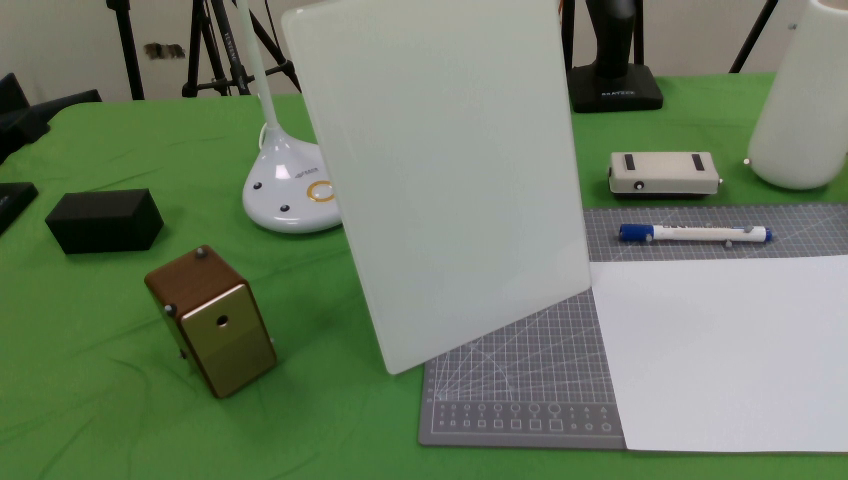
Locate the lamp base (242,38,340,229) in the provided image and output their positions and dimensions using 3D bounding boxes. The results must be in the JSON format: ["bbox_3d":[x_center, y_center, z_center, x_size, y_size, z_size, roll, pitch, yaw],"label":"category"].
[{"bbox_3d":[-0.155,-0.129,0.692,0.160,0.182,0.177,-35,46,-30],"label":"lamp base"}]

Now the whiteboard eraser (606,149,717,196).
[{"bbox_3d":[0.266,-0.075,0.685,0.112,0.042,0.055,0,39,8],"label":"whiteboard eraser"}]

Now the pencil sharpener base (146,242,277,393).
[{"bbox_3d":[-0.182,0.067,0.523,0.061,0.108,0.076,-33,47,-27],"label":"pencil sharpener base"}]

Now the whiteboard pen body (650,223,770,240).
[{"bbox_3d":[0.279,-0.009,0.622,0.140,0.017,0.017,1,41,8],"label":"whiteboard pen body"}]

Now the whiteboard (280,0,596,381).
[{"bbox_3d":[0.010,-0.072,0.552,0.217,0.307,0.142,-21,23,-15],"label":"whiteboard"}]

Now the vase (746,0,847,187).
[{"bbox_3d":[0.414,-0.154,0.638,0.098,0.202,0.097,-3,41,3],"label":"vase"}]

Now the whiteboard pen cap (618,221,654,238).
[{"bbox_3d":[0.220,-0.010,0.630,0.033,0.018,0.018,3,41,7],"label":"whiteboard pen cap"}]

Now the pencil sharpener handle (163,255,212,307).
[{"bbox_3d":[-0.215,0.034,0.547,0.036,0.068,0.030,-39,49,-21],"label":"pencil sharpener handle"}]
